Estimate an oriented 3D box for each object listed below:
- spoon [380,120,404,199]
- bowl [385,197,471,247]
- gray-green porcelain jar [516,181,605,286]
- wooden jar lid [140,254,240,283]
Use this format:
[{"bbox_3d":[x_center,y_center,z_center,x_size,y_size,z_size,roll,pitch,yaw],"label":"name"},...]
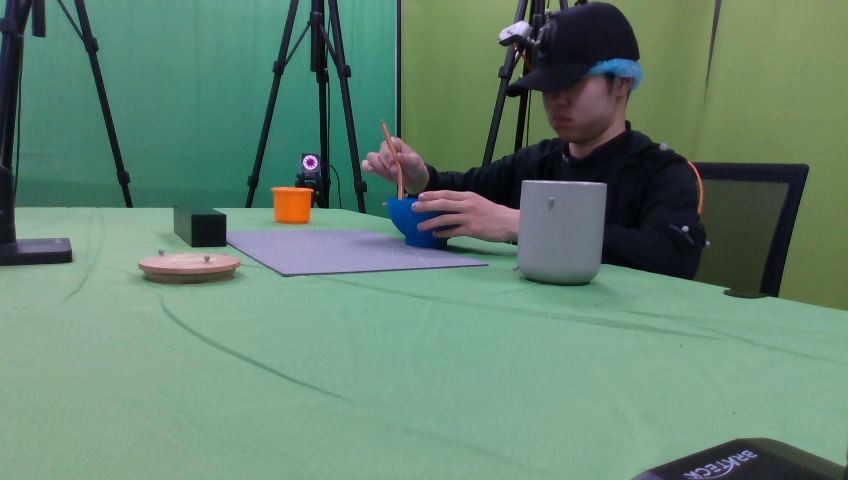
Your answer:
[{"bbox_3d":[-0.048,-0.116,1.052,0.021,0.193,0.042,-13,-4,14],"label":"spoon"},{"bbox_3d":[0.005,-0.030,1.046,0.151,0.077,0.151,5,5,0],"label":"bowl"},{"bbox_3d":[0.172,-0.010,0.768,0.106,0.126,0.106,2,7,0],"label":"gray-green porcelain jar"},{"bbox_3d":[-0.269,0.032,0.698,0.108,0.020,0.108,2,5,0],"label":"wooden jar lid"}]
